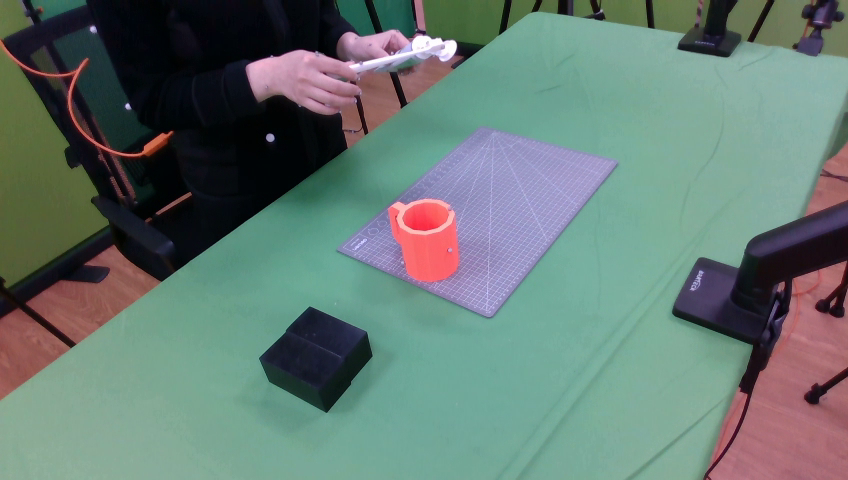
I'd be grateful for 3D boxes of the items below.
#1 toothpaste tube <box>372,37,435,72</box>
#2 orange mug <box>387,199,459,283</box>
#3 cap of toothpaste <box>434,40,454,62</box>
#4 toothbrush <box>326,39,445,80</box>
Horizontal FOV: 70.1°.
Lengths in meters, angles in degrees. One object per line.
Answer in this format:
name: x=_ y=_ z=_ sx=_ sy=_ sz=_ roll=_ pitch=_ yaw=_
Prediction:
toothpaste tube: x=-0.028 y=-0.297 z=0.991 sx=0.055 sy=0.034 sz=0.164 roll=-6 pitch=3 yaw=-28
orange mug: x=-0.006 y=-0.007 z=0.923 sx=0.125 sy=0.101 sz=0.084 roll=32 pitch=54 yaw=32
cap of toothpaste: x=0.030 y=-0.291 z=0.923 sx=0.037 sy=0.011 sz=0.037 roll=-17 pitch=63 yaw=36
toothbrush: x=-0.057 y=-0.266 z=0.892 sx=0.182 sy=0.014 sz=0.016 roll=-18 pitch=67 yaw=-7
